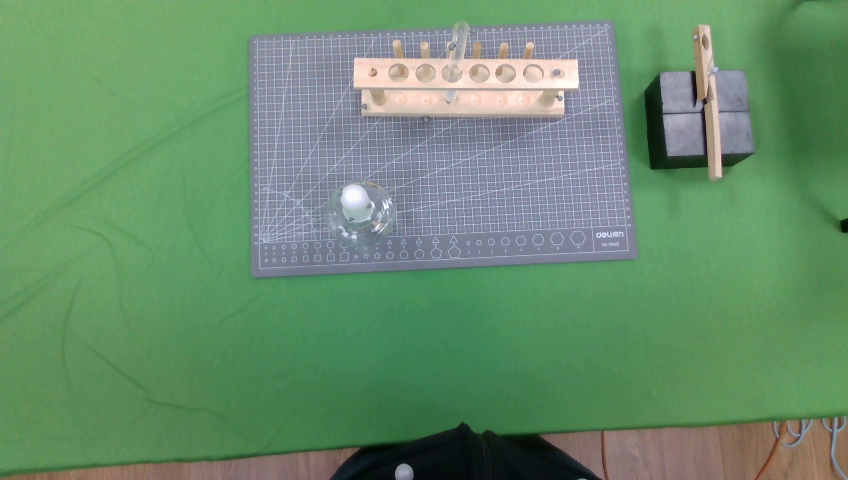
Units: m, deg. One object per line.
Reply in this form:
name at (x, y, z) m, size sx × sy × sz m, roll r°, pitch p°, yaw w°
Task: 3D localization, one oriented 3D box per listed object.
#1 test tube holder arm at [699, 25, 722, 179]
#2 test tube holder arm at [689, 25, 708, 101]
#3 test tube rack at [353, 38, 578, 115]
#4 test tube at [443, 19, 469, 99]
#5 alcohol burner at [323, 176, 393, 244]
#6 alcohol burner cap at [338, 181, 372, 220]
test tube holder arm at (0.321, -0.156, 0.683) m, size 0.013 × 0.015 × 0.178 m, roll -2°, pitch 82°, yaw -9°
test tube holder arm at (0.313, -0.201, 0.689) m, size 0.010 × 0.015 × 0.087 m, roll -1°, pitch 82°, yaw -8°
test tube rack at (0.045, -0.191, 0.696) m, size 0.242 × 0.085 × 0.066 m, roll 0°, pitch 82°, yaw -1°
test tube at (0.033, -0.187, 0.644) m, size 0.017 × 0.150 × 0.017 m, roll 0°, pitch 78°, yaw -2°
alcohol burner at (-0.072, -0.036, 0.656) m, size 0.078 × 0.119 × 0.077 m, roll 0°, pitch 79°, yaw -2°
alcohol burner cap at (-0.072, -0.043, 0.621) m, size 0.034 × 0.048 × 0.033 m, roll -1°, pitch 75°, yaw 2°
